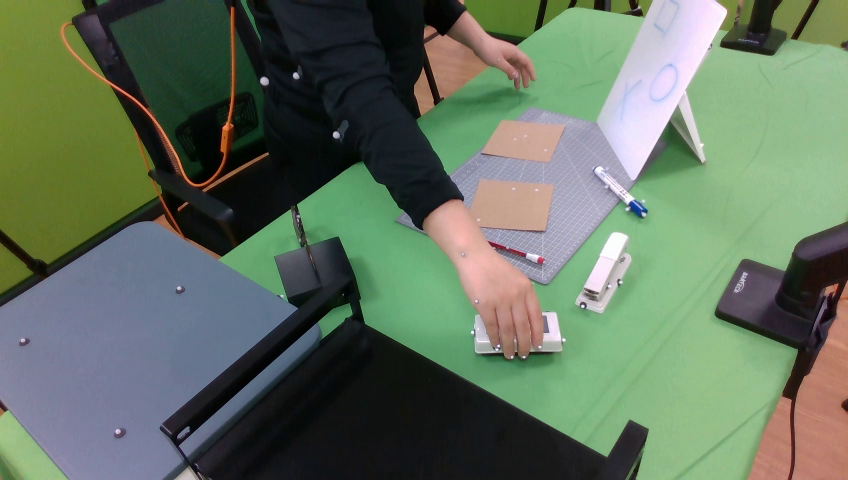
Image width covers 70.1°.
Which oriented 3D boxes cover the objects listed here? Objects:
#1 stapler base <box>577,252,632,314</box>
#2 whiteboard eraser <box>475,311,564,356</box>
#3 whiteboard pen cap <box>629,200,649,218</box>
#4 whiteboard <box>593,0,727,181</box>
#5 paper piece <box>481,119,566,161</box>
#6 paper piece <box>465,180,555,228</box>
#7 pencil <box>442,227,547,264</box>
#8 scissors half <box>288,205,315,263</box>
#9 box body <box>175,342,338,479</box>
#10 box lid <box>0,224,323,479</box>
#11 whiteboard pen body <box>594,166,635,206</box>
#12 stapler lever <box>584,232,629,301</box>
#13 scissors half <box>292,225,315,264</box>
[{"bbox_3d":[0.264,0.051,0.875,0.041,0.024,0.131,15,47,30],"label":"stapler base"},{"bbox_3d":[0.124,0.125,0.795,0.112,0.042,0.055,-4,36,4],"label":"whiteboard eraser"},{"bbox_3d":[0.348,-0.051,0.983,0.018,0.018,0.033,-18,41,-12],"label":"whiteboard pen cap"},{"bbox_3d":[0.453,-0.272,1.055,0.144,0.305,0.216,9,38,-12],"label":"whiteboard"},{"bbox_3d":[0.197,-0.199,1.188,0.135,0.004,0.135,10,44,22],"label":"paper piece"},{"bbox_3d":[0.149,-0.063,1.034,0.137,0.009,0.136,4,37,17],"label":"paper piece"},{"bbox_3d":[0.107,0.006,0.959,0.192,0.012,0.012,19,47,31],"label":"pencil"},{"bbox_3d":[-0.191,-0.010,0.944,0.013,0.040,0.173,-18,38,-15],"label":"scissors half"},{"bbox_3d":[-0.311,0.165,0.719,0.361,0.161,0.255,23,49,32],"label":"box body"},{"bbox_3d":[-0.318,0.110,0.671,0.368,0.015,0.264,24,49,32],"label":"box lid"},{"bbox_3d":[0.331,-0.085,1.027,0.017,0.017,0.139,-16,41,-10],"label":"whiteboard pen body"},{"bbox_3d":[0.260,0.034,0.858,0.026,0.040,0.118,15,46,30],"label":"stapler lever"},{"bbox_3d":[-0.187,0.007,0.954,0.013,0.040,0.174,-23,22,-12],"label":"scissors half"}]
